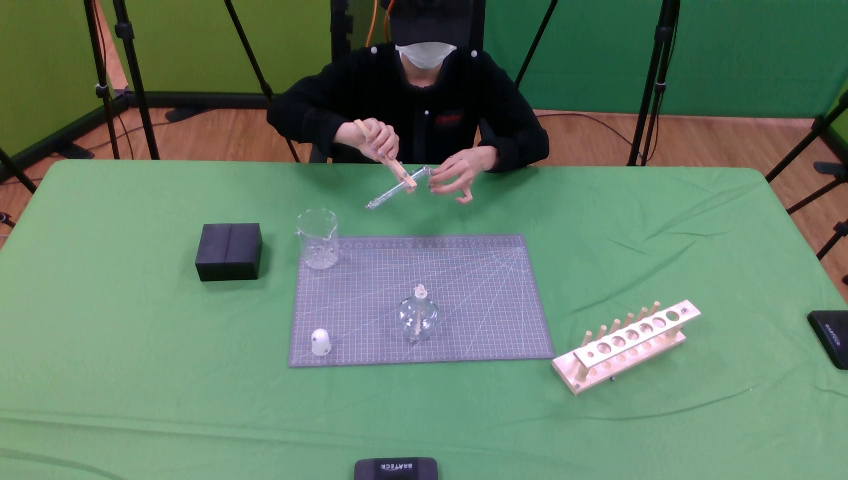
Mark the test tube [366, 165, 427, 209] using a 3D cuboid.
[{"bbox_3d":[-0.047,-0.094,1.075,0.017,0.017,0.150,33,50,25],"label":"test tube"}]

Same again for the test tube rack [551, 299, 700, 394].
[{"bbox_3d":[0.339,0.166,1.021,0.242,0.085,0.066,-19,50,-21],"label":"test tube rack"}]

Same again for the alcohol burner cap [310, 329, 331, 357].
[{"bbox_3d":[-0.173,0.168,1.005,0.034,0.048,0.033,2,46,-2],"label":"alcohol burner cap"}]

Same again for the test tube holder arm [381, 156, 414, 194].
[{"bbox_3d":[-0.048,-0.121,1.097,0.015,0.010,0.087,-28,76,-33],"label":"test tube holder arm"}]

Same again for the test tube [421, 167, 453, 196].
[{"bbox_3d":[0.027,-0.112,1.186,0.017,0.151,0.017,-5,75,20],"label":"test tube"}]

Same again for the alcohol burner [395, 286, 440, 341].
[{"bbox_3d":[-0.010,0.116,1.018,0.078,0.119,0.077,3,47,-3],"label":"alcohol burner"}]

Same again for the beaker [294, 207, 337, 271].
[{"bbox_3d":[-0.196,0.003,1.123,0.074,0.101,0.083,-23,53,-24],"label":"beaker"}]

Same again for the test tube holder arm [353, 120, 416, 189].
[{"bbox_3d":[-0.073,-0.158,1.105,0.015,0.013,0.177,-28,69,-33],"label":"test tube holder arm"}]
